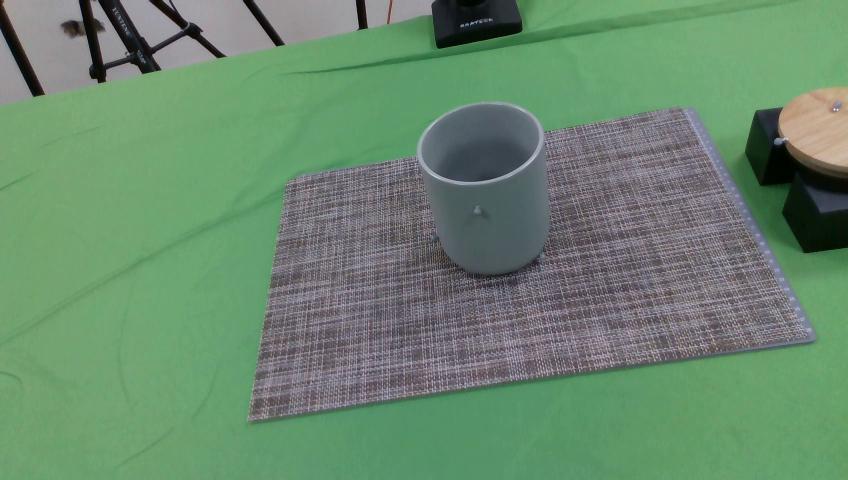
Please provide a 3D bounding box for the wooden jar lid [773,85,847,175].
[{"bbox_3d":[0.357,-0.093,0.515,0.108,0.021,0.107,-7,49,9],"label":"wooden jar lid"}]

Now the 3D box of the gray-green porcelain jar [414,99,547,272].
[{"bbox_3d":[0.054,-0.042,0.536,0.106,0.128,0.105,-7,48,8],"label":"gray-green porcelain jar"}]
